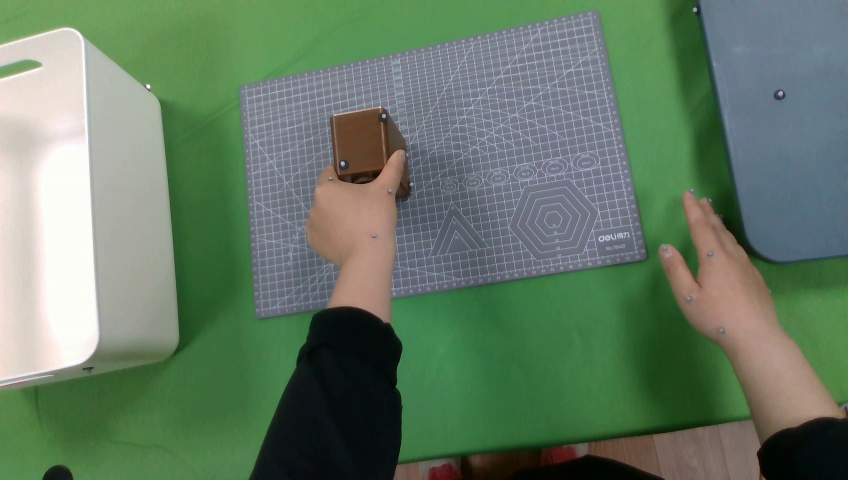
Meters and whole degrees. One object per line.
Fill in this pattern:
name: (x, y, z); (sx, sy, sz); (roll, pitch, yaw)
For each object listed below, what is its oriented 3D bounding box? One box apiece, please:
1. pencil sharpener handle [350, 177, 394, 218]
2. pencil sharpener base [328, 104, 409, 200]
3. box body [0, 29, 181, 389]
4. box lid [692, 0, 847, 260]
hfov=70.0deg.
pencil sharpener handle: (-0.051, -0.044, 0.644); (0.036, 0.068, 0.030); (-12, 77, 24)
pencil sharpener base: (-0.058, -0.090, 0.667); (0.061, 0.107, 0.076); (-9, 78, 9)
box body: (-0.442, -0.018, 0.700); (0.254, 0.161, 0.362); (-12, 77, 8)
box lid: (0.423, -0.174, 0.602); (0.263, 0.015, 0.369); (-8, 78, 9)
